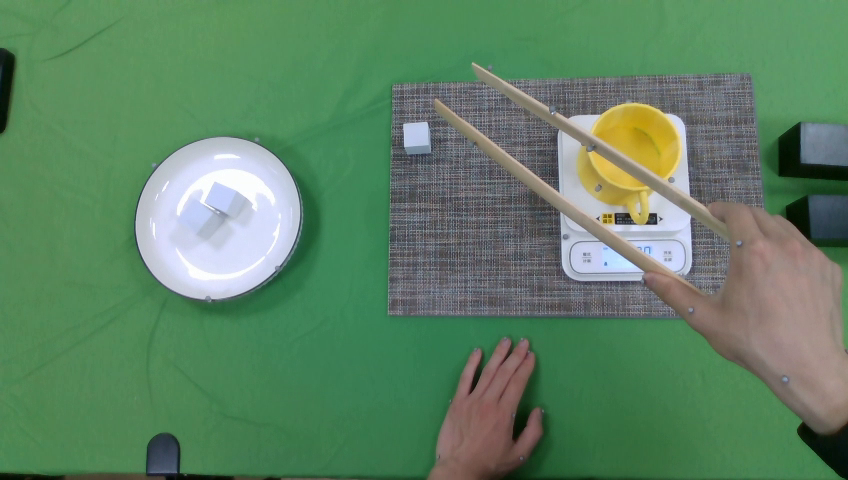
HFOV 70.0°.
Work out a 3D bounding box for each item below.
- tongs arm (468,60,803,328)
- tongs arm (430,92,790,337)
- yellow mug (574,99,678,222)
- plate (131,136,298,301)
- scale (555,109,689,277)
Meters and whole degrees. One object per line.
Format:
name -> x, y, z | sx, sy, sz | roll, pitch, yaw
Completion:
tongs arm -> 0.155, -0.062, 0.535 | 0.051, 0.027, 0.381 | -43, 57, -9
tongs arm -> 0.130, -0.039, 0.531 | 0.028, 0.028, 0.383 | -41, 57, -11
yellow mug -> 0.227, -0.084, 0.680 | 0.100, 0.064, 0.130 | -11, 80, 2
plate -> -0.256, -0.025, 0.755 | 0.207, 0.039, 0.207 | -1, 80, 4
scale -> 0.235, -0.057, 0.722 | 0.148, 0.032, 0.200 | -1, 80, 5
